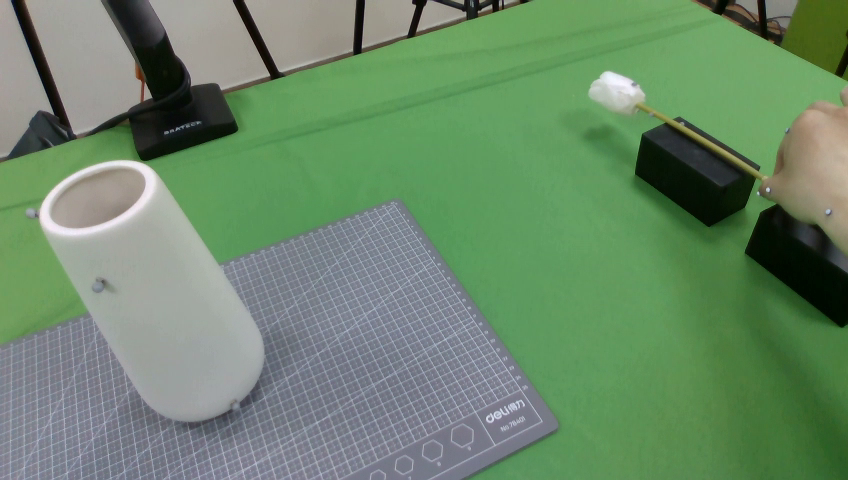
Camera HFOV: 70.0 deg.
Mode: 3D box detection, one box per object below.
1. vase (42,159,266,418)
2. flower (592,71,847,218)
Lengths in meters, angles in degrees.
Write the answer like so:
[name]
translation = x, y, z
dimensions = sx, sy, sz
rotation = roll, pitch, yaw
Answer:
[vase]
translation = -0.182, 0.041, 0.429
dimensions = 0.098, 0.202, 0.097
rotation = -4, 44, 4
[flower]
translation = 0.283, -0.080, 0.556
dimensions = 0.044, 0.038, 0.357
rotation = -16, 40, -22
